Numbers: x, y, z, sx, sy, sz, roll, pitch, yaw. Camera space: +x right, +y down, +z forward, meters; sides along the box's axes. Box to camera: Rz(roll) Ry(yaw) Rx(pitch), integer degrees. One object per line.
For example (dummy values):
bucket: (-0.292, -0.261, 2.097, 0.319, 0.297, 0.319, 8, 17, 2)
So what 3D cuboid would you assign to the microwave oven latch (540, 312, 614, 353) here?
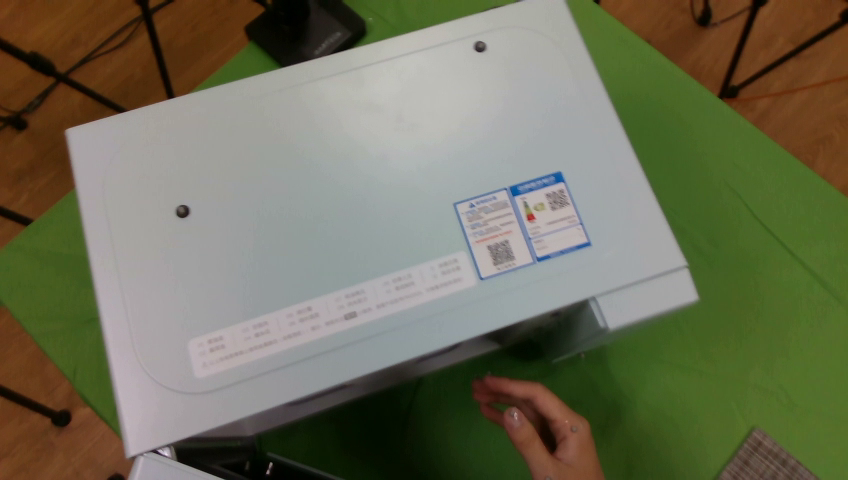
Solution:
microwave oven latch: (0.171, 0.100, 0.670, 0.079, 0.029, 0.030, -17, 75, -5)

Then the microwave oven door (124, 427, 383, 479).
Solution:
microwave oven door: (-0.038, 0.240, 0.519, 0.355, 0.245, 0.039, 18, 75, 4)

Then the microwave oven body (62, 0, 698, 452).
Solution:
microwave oven body: (-0.045, -0.007, 0.596, 0.442, 0.261, 0.324, -18, 75, -6)
